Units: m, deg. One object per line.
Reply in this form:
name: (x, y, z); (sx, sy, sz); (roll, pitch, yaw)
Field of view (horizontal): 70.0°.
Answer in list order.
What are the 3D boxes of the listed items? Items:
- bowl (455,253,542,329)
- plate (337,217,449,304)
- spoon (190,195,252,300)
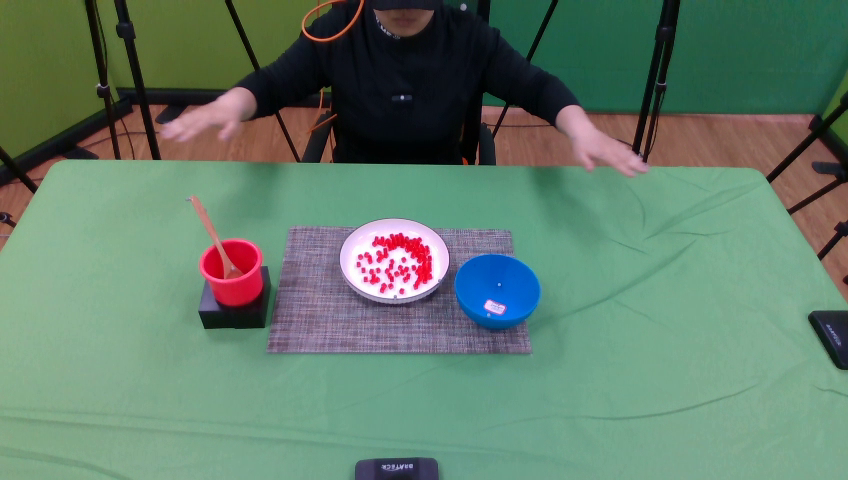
bowl: (0.125, 0.103, 1.062); (0.151, 0.077, 0.150); (2, 46, -2)
plate: (-0.058, 0.042, 1.136); (0.208, 0.039, 0.206); (2, 46, -2)
spoon: (-0.339, 0.012, 1.007); (0.041, 0.021, 0.194); (-27, 97, -26)
